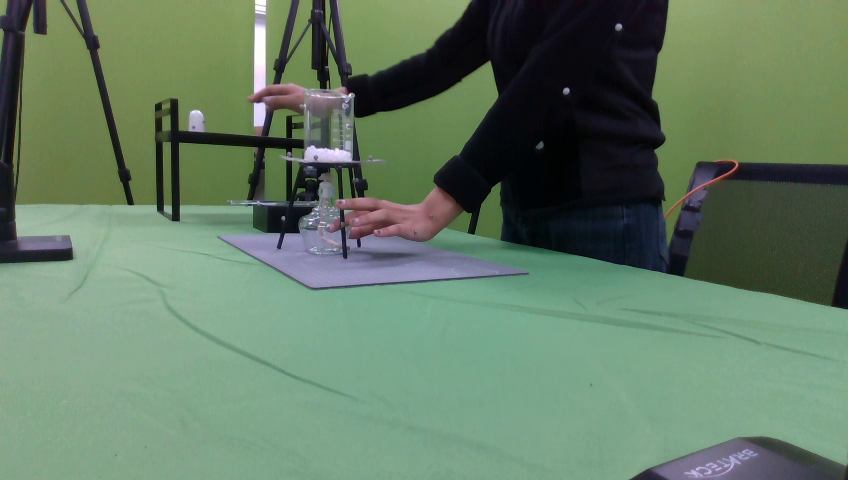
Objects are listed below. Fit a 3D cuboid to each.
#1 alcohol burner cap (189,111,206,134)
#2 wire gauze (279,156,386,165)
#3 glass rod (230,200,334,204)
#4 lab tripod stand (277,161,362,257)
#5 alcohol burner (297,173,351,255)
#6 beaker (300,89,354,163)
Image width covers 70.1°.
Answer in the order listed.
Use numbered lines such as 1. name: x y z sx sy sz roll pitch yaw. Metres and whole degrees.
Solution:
1. alcohol burner cap: -0.470 -0.244 1.252 0.034 0.048 0.034 2 7 0
2. wire gauze: -0.134 -0.113 0.875 0.122 0.011 0.124 -1 6 -30
3. glass rod: -0.265 -0.071 1.143 0.201 0.008 0.008 -1 8 -31
4. lab tripod stand: -0.143 -0.049 0.884 0.148 0.131 0.148 1 9 0
5. alcohol burner: -0.145 -0.038 0.880 0.078 0.119 0.078 3 6 0
6. beaker: -0.137 -0.161 0.869 0.083 0.100 0.074 9 10 42
